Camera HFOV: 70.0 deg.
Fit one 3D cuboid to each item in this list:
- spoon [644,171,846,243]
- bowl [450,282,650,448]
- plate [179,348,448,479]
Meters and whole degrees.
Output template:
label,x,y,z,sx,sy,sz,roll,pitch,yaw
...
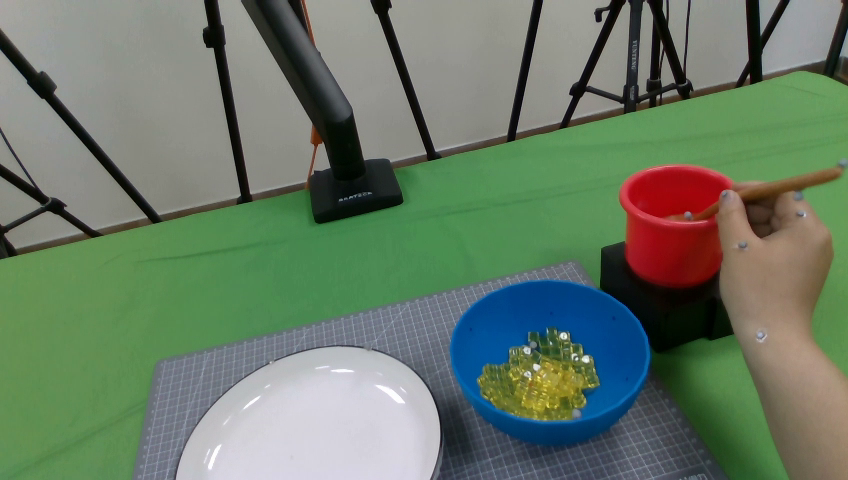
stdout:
label,x,y,z,sx,sy,sz,roll,pitch,yaw
spoon,0.234,-0.024,0.467,0.041,0.194,0.021,-31,86,-17
bowl,0.099,0.111,0.484,0.151,0.077,0.150,-6,36,5
plate,-0.083,0.172,0.477,0.207,0.039,0.205,-6,36,5
